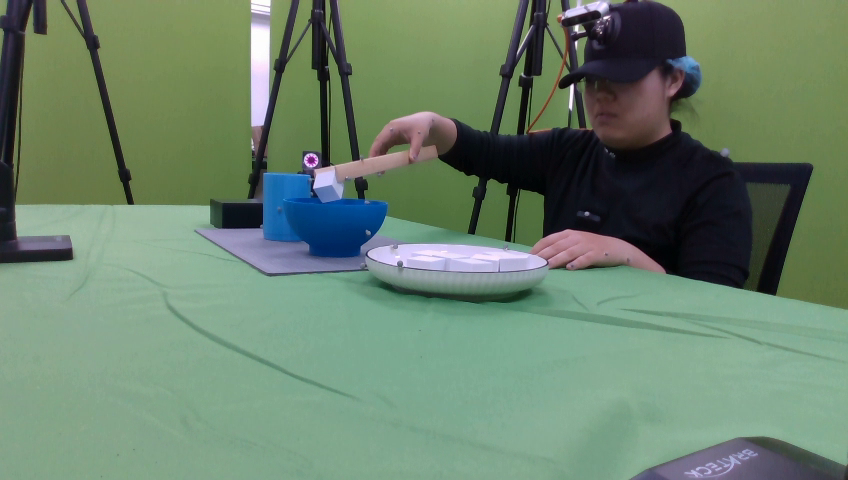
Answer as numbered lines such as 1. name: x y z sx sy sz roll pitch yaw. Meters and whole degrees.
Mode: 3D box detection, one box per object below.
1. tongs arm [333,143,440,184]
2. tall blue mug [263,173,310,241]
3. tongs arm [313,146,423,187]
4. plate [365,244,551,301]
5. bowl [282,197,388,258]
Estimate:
1. tongs arm: -0.058 -0.137 1.051 0.050 0.026 0.386 -9 10 30
2. tall blue mug: -0.233 -0.058 1.019 0.078 0.108 0.107 -1 8 -19
3. tongs arm: -0.080 -0.134 1.062 0.028 0.028 0.389 -13 8 27
4. plate: 0.038 0.035 0.685 0.209 0.038 0.209 2 7 0
5. bowl: -0.128 -0.018 0.869 0.151 0.077 0.151 2 7 0
